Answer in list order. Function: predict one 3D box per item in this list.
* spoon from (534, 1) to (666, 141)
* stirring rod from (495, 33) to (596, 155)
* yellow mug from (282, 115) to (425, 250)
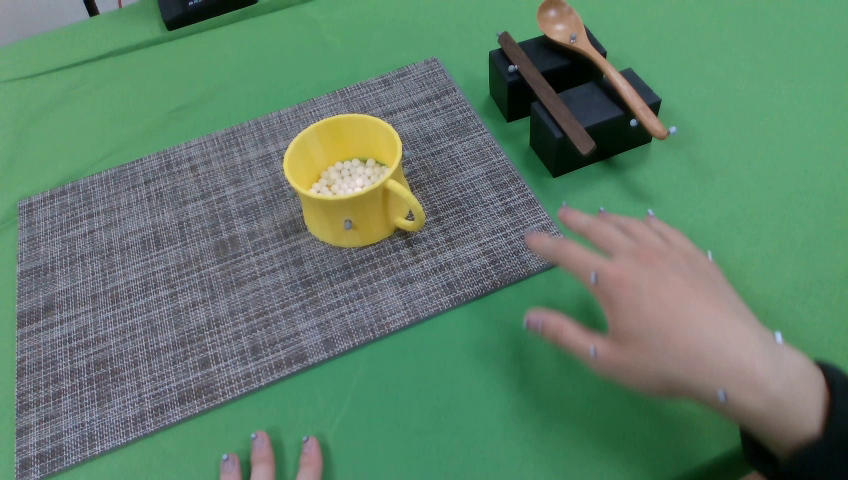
[{"bbox_3d":[0.156,-0.156,0.545,0.041,0.022,0.191,-21,56,-10],"label":"spoon"},{"bbox_3d":[0.104,-0.135,0.539,0.014,0.006,0.174,-44,50,23],"label":"stirring rod"},{"bbox_3d":[-0.052,-0.044,0.518,0.130,0.064,0.099,28,62,24],"label":"yellow mug"}]
